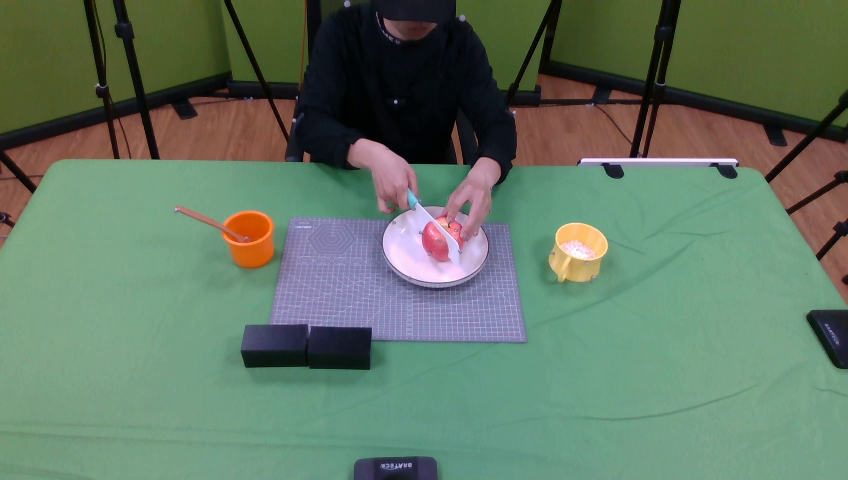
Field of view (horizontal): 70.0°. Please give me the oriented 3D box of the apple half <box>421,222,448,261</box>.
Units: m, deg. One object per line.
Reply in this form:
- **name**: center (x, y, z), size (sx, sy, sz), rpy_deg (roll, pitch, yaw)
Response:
- **apple half**: center (0.013, 0.009, 1.139), size (0.033, 0.081, 0.081), rpy_deg (-23, 52, -23)

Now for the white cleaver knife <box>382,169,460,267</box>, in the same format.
- **white cleaver knife**: center (-0.010, -0.047, 1.172), size (0.021, 0.066, 0.284), rpy_deg (-21, 47, -21)

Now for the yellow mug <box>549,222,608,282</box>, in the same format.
- **yellow mug**: center (0.287, 0.031, 1.159), size (0.099, 0.064, 0.130), rpy_deg (28, 51, 21)

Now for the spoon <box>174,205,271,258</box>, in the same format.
- **spoon**: center (-0.362, -0.017, 1.098), size (0.021, 0.195, 0.041), rpy_deg (-32, 42, 27)

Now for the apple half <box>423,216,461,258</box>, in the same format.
- **apple half**: center (0.040, -0.007, 1.152), size (0.053, 0.075, 0.080), rpy_deg (-22, 52, -37)

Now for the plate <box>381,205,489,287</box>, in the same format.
- **plate**: center (0.021, 0.015, 1.170), size (0.209, 0.038, 0.208), rpy_deg (2, 46, -2)
